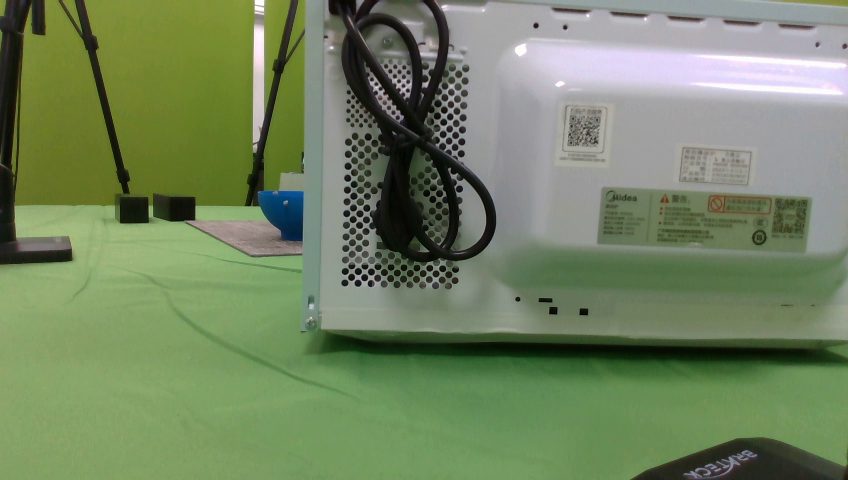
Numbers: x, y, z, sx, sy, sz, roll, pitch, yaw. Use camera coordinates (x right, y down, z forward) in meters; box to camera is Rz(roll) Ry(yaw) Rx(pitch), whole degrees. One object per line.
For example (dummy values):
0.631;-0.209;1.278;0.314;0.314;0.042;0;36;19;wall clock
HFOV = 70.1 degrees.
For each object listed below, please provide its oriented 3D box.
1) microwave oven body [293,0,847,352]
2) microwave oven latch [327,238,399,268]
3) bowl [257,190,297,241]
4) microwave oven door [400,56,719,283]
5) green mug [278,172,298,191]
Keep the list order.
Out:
0.122;-0.055;0.550;0.442;0.260;0.325;3;7;-5;microwave oven body
-0.069;0.015;0.694;0.079;0.029;0.030;3;7;-3;microwave oven latch
-0.206;-0.041;1.027;0.151;0.077;0.151;3;8;0;bowl
0.155;-0.077;0.697;0.356;0.243;0.039;2;8;-5;microwave oven door
-0.250;-0.089;1.279;0.092;0.105;0.126;9;9;40;green mug
